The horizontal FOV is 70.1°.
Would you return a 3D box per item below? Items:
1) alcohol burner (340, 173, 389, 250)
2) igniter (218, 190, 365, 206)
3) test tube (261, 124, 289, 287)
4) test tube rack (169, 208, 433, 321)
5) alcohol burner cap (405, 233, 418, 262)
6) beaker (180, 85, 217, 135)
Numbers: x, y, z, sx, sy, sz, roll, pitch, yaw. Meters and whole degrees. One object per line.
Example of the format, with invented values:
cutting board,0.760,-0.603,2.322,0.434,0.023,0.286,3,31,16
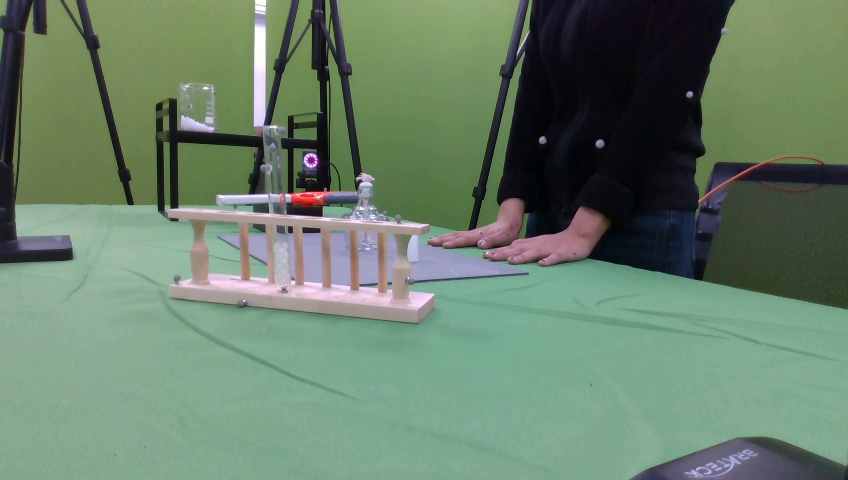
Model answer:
alcohol burner,-0.093,-0.045,0.939,0.078,0.119,0.078,0,7,0
igniter,-0.247,-0.080,1.156,0.278,0.025,0.057,-4,12,-26
test tube,-0.136,-0.030,0.554,0.017,0.150,0.017,-2,10,1
test tube rack,-0.115,0.018,0.574,0.242,0.085,0.067,4,8,13
alcohol burner cap,-0.024,0.005,0.848,0.034,0.048,0.034,3,10,0
beaker,-0.478,-0.275,1.279,0.074,0.100,0.084,4,8,15
